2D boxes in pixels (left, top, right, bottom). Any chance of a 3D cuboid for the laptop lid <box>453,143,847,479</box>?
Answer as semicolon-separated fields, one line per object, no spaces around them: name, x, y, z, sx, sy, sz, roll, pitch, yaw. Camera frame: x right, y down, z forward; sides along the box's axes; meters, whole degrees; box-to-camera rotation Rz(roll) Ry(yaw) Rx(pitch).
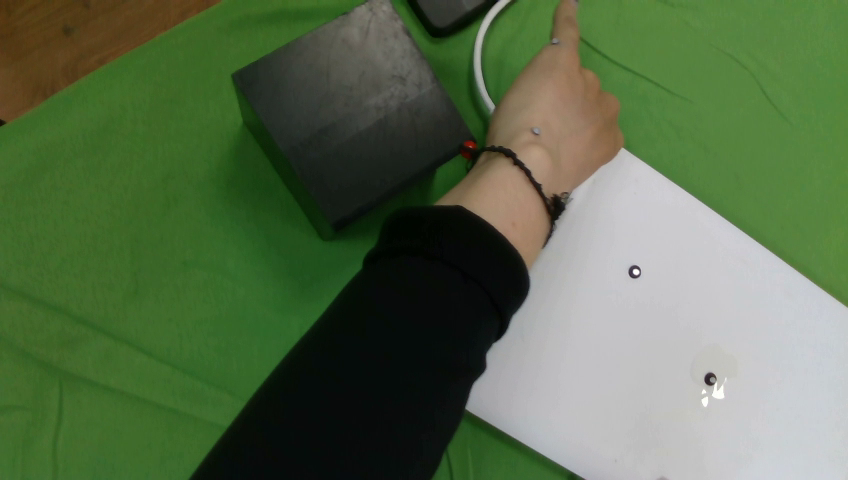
laptop lid;0.222;0.111;0.485;0.358;0.013;0.241;33;83;-10

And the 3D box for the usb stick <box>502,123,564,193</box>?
usb stick;0.086;-0.060;0.460;0.021;0.027;0.059;-39;103;13

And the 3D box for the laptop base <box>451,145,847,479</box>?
laptop base;0.220;0.110;0.499;0.355;0.023;0.235;32;83;-10
